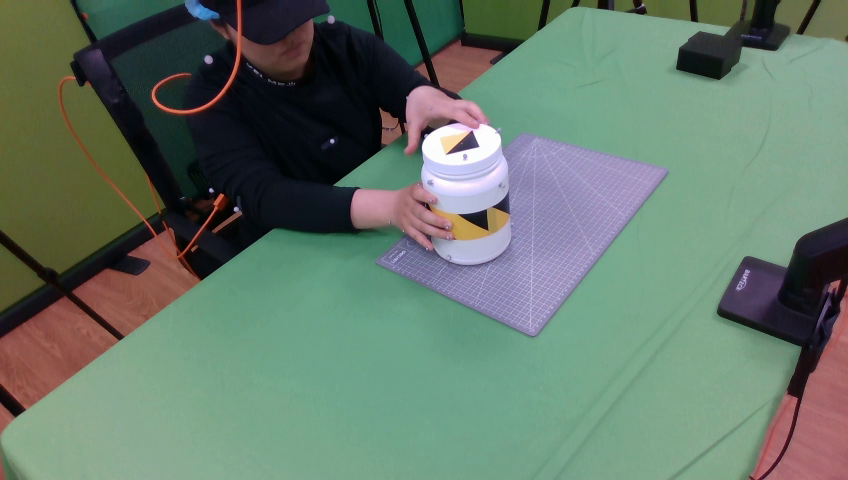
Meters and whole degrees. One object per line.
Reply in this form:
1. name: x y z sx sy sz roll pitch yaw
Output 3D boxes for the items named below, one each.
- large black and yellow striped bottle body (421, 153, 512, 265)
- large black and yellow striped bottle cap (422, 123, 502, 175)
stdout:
1. large black and yellow striped bottle body: 0.065 -0.068 0.921 0.131 0.185 0.130 -5 40 5
2. large black and yellow striped bottle cap: 0.054 -0.132 0.865 0.115 0.019 0.114 -6 38 5
